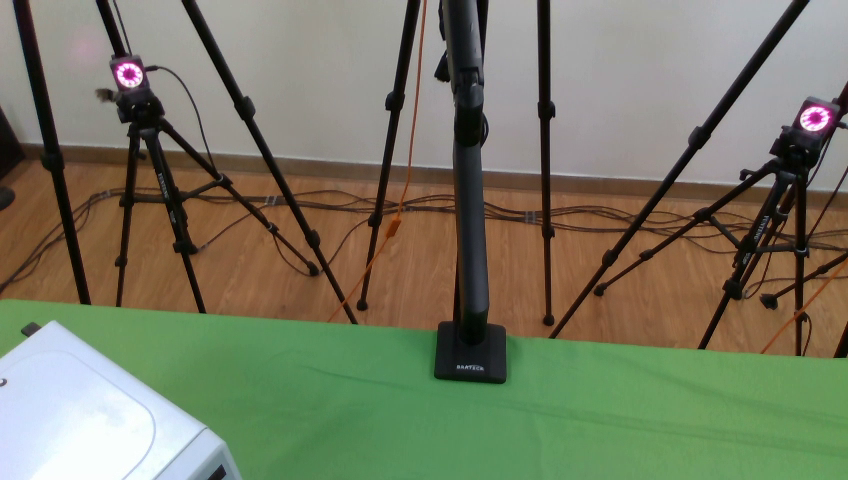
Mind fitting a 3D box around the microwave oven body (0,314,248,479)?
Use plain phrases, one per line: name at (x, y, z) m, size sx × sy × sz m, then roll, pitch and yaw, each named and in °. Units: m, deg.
microwave oven body at (-0.465, 0.356, 0.665) m, size 0.324 × 0.262 × 0.440 m, roll 25°, pitch 50°, yaw 21°
